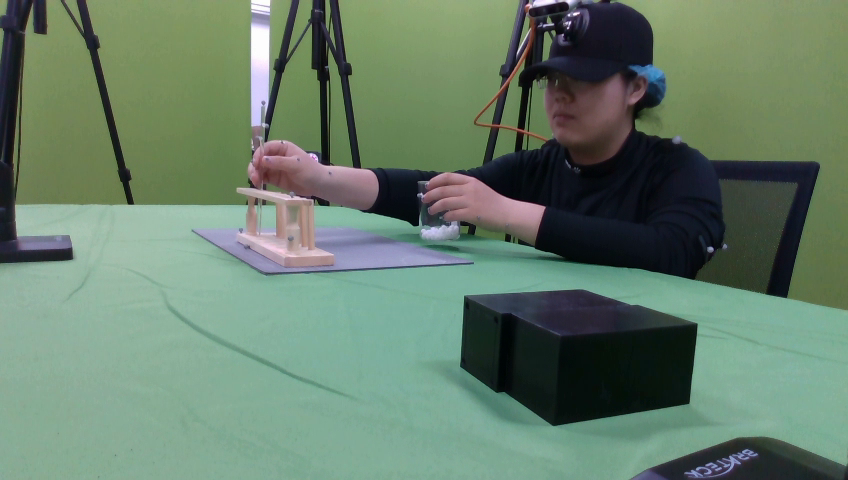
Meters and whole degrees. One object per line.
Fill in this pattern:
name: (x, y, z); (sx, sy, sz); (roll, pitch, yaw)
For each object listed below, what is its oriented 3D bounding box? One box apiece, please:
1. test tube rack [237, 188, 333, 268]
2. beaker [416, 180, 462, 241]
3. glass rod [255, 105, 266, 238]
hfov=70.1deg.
test tube rack: (-0.203, -0.024, 0.854); (0.067, 0.085, 0.241); (-2, 8, -30)
beaker: (0.029, -0.050, 1.011); (0.083, 0.100, 0.074); (4, 9, 41)
glass rod: (-0.245, -0.101, 0.904); (0.008, 0.199, 0.008); (5, 6, 0)
